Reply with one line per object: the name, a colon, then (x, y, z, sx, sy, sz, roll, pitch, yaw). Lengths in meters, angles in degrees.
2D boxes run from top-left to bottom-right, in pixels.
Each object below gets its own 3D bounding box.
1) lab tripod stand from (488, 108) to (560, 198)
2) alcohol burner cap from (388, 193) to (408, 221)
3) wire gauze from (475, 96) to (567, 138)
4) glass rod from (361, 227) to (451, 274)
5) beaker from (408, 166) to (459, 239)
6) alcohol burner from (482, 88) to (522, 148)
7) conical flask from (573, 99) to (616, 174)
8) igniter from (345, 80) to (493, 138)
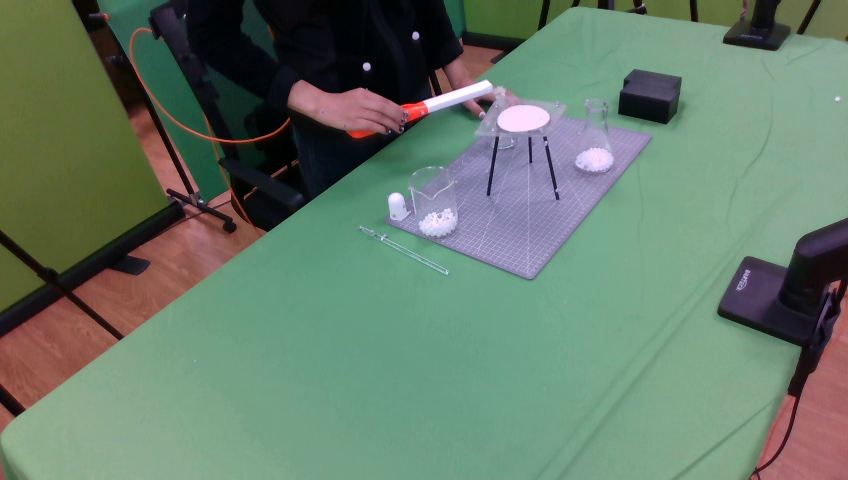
lab tripod stand: (0.173, -0.150, 1.037, 0.148, 0.132, 0.147, -7, 38, 6)
alcohol burner cap: (-0.047, -0.059, 1.043, 0.034, 0.048, 0.033, -6, 41, 5)
wire gauze: (0.161, -0.201, 0.994, 0.121, 0.011, 0.125, 11, 43, 23)
glass rod: (-0.033, 0.015, 0.985, 0.198, 0.008, 0.008, 26, 52, 34)
beaker: (0.018, -0.057, 0.984, 0.074, 0.101, 0.083, -6, 41, 5)
alcohol burner: (0.149, -0.237, 1.160, 0.078, 0.119, 0.077, -4, 40, 4)
conical flask: (0.302, -0.184, 1.061, 0.075, 0.122, 0.075, -5, 40, 5)
igniter: (-0.008, -0.237, 1.092, 0.277, 0.025, 0.057, -20, 37, -7)
